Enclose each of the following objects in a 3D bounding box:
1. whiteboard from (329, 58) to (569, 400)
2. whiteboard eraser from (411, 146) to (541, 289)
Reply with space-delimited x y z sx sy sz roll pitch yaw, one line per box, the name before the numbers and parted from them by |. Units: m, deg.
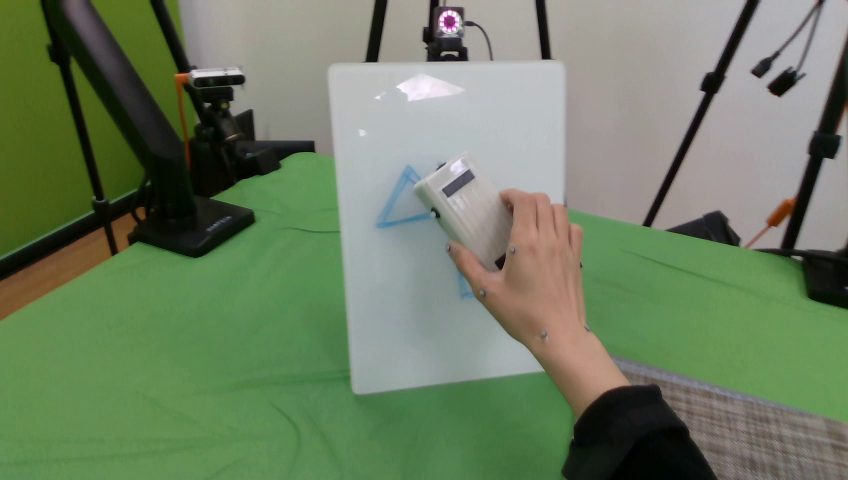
whiteboard | 0.019 -0.020 0.623 0.218 0.306 0.143 -5 12 -11
whiteboard eraser | 0.043 -0.018 0.504 0.055 0.113 0.042 -39 5 -18
